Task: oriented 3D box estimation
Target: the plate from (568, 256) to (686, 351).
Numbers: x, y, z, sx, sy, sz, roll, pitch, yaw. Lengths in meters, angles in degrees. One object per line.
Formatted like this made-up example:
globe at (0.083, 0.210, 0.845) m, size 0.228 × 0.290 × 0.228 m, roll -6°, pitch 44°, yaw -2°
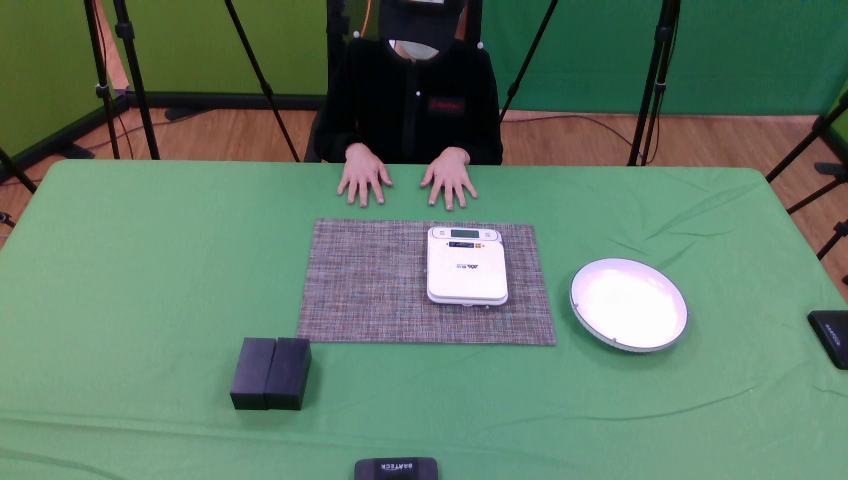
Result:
plate at (0.364, 0.118, 1.102) m, size 0.208 × 0.039 × 0.206 m, roll 2°, pitch 46°, yaw -2°

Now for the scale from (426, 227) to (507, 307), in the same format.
scale at (0.078, 0.043, 1.152) m, size 0.149 × 0.032 × 0.199 m, roll 3°, pitch 45°, yaw -2°
